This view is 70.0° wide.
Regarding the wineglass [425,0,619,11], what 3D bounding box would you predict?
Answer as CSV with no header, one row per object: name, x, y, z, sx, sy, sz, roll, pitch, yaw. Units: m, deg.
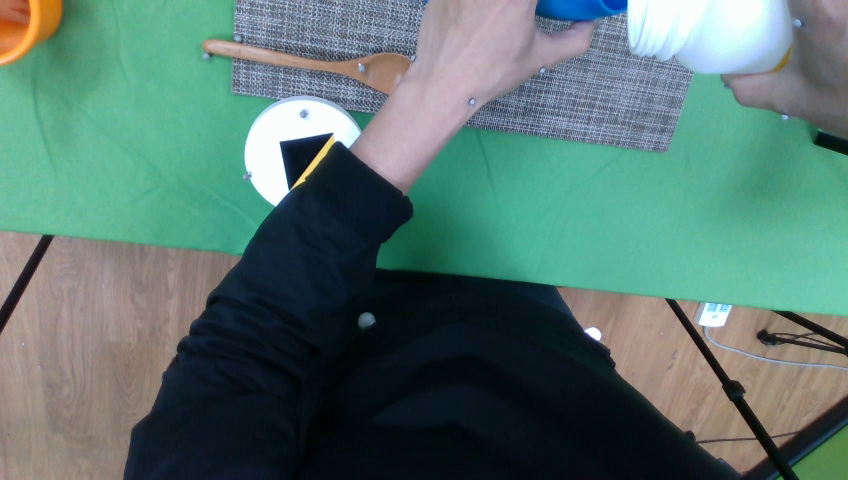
wineglass,0.070,-0.210,0.454,0.074,0.170,0.074,-17,116,-37

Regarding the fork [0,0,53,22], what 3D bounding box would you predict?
fork,-0.362,-0.183,0.408,0.208,0.018,0.028,-8,133,-58

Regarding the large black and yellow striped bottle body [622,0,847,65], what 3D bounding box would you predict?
large black and yellow striped bottle body,0.215,-0.169,0.347,0.183,0.130,0.131,3,116,10

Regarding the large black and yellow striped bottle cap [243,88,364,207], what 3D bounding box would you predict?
large black and yellow striped bottle cap,-0.114,-0.086,0.580,0.115,0.018,0.116,-5,120,-9

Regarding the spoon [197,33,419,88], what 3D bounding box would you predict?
spoon,-0.101,-0.164,0.539,0.194,0.021,0.042,4,136,-14
